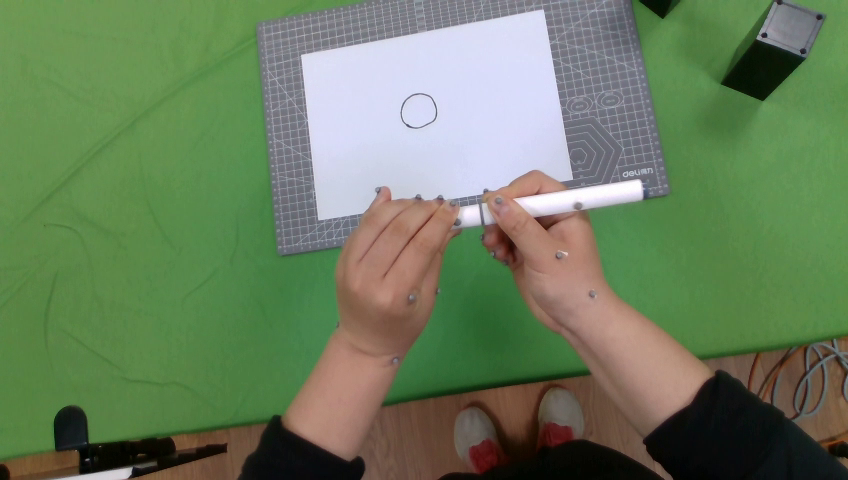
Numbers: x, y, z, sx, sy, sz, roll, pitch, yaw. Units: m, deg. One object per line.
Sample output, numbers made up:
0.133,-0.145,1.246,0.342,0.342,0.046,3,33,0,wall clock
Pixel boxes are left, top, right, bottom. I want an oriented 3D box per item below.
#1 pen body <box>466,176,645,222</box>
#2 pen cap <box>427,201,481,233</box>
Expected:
0.082,-0.027,0.428,0.144,0.017,0.017,-8,80,5,pen body
0.021,-0.016,0.434,0.038,0.017,0.017,-15,79,-2,pen cap
